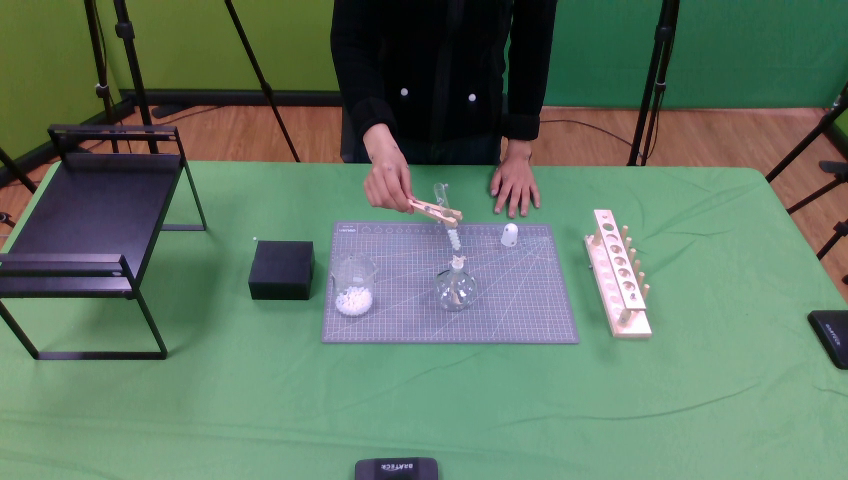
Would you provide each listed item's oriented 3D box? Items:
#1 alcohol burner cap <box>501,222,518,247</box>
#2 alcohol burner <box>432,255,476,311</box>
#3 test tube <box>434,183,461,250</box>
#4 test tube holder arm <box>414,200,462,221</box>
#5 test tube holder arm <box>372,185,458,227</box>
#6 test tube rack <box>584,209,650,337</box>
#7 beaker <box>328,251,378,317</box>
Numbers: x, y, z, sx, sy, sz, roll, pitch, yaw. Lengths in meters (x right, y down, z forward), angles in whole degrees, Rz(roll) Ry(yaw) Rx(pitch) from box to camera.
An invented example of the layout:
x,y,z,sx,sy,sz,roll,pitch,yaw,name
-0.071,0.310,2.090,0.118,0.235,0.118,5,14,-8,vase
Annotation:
x,y,z,sx,sy,sz,roll,pitch,yaw,name
0.172,-0.013,1.206,0.034,0.048,0.033,1,45,-1,alcohol burner cap
0.055,0.070,1.068,0.078,0.119,0.077,3,45,-3,alcohol burner
0.038,-0.033,0.955,0.017,0.151,0.017,-8,49,10,test tube
0.021,-0.048,0.963,0.087,0.015,0.010,16,55,28,test tube holder arm
-0.018,-0.057,0.983,0.177,0.015,0.013,23,58,32,test tube holder arm
0.365,0.056,1.129,0.067,0.085,0.240,1,46,-4,test tube rack
-0.122,0.080,1.055,0.084,0.101,0.073,0,47,-5,beaker
